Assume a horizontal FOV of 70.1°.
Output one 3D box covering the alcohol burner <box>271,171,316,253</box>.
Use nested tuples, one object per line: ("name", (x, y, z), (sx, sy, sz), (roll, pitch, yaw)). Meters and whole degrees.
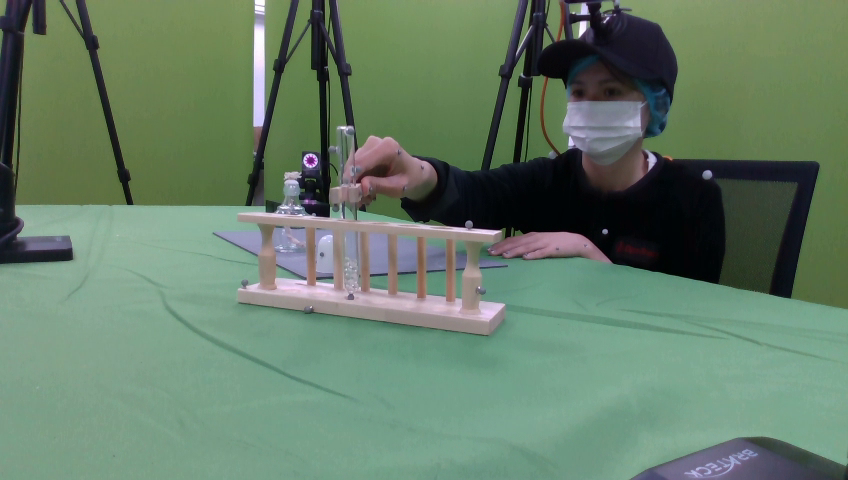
("alcohol burner", (-0.196, -0.041, 0.884), (0.078, 0.119, 0.078), (3, 5, 0))

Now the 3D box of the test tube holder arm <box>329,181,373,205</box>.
("test tube holder arm", (-0.069, -0.049, 0.599), (0.013, 0.015, 0.178), (2, 8, 3))

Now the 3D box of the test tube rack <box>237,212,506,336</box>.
("test tube rack", (-0.049, 0.024, 0.552), (0.242, 0.085, 0.067), (5, 8, 18))

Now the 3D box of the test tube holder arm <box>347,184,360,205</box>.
("test tube holder arm", (-0.064, -0.042, 0.554), (0.010, 0.015, 0.087), (1, 8, -5))

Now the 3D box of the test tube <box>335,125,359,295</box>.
("test tube", (-0.068, -0.025, 0.533), (0.017, 0.150, 0.017), (-1, 11, 0))

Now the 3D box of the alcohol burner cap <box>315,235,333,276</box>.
("alcohol burner cap", (-0.116, 0.018, 0.728), (0.034, 0.048, 0.034), (3, 6, 0))
